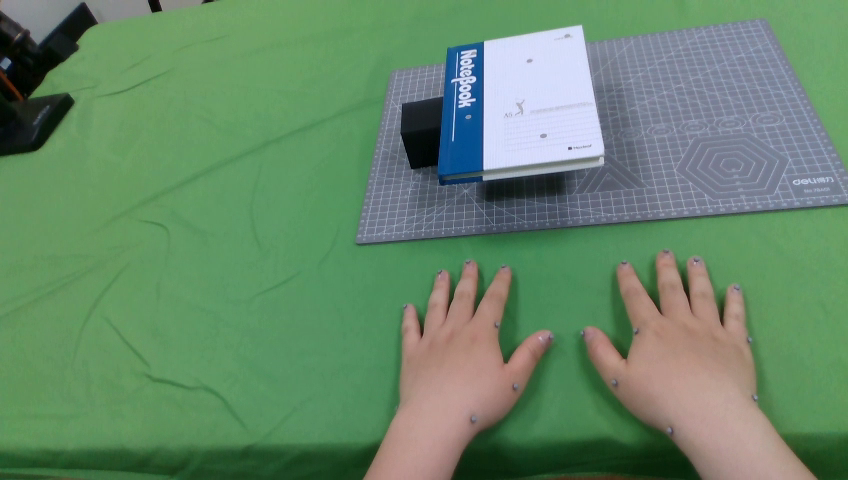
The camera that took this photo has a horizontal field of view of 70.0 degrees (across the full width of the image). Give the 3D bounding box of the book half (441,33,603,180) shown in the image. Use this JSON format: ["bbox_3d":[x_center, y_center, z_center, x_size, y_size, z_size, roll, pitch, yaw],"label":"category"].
[{"bbox_3d":[0.092,-0.138,0.599,0.143,0.007,0.208,-5,47,12],"label":"book half"}]

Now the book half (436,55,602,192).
[{"bbox_3d":[0.090,-0.133,0.605,0.148,0.016,0.208,-5,48,12],"label":"book half"}]
